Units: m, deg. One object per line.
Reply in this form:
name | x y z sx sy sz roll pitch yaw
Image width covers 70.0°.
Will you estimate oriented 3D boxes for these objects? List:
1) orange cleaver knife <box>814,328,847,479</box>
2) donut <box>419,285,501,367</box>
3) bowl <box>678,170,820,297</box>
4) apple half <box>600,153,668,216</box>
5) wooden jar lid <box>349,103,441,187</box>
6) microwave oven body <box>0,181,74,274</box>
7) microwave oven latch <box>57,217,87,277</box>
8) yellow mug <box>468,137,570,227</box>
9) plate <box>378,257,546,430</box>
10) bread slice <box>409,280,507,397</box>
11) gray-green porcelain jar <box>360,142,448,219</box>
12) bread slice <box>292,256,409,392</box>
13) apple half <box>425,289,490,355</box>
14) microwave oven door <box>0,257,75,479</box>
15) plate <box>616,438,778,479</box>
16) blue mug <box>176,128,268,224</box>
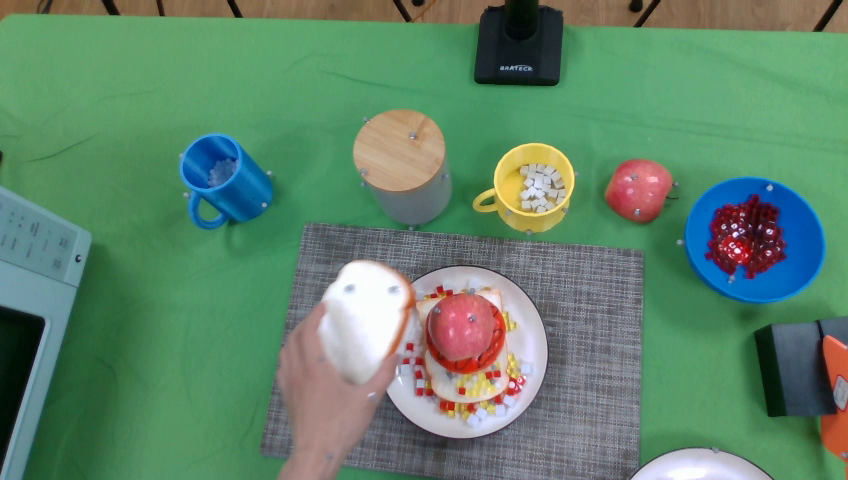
orange cleaver knife | 0.444 0.202 0.648 0.012 0.077 0.211 -5 94 -2
donut | 0.043 0.102 0.716 0.099 0.048 0.098 -2 73 7
bowl | 0.372 0.001 0.720 0.151 0.077 0.150 -2 73 7
apple half | 0.268 -0.077 0.769 0.074 0.054 0.080 27 78 16
wooden jar lid | -0.033 -0.109 0.709 0.108 0.021 0.107 -1 71 4
microwave oven body | -0.663 0.136 0.701 0.325 0.262 0.439 5 74 8
microwave oven latch | -0.484 0.009 0.820 0.030 0.030 0.079 8 75 9
yellow mug | 0.119 -0.069 0.778 0.131 0.064 0.099 -17 72 3
plate | 0.043 0.124 0.739 0.207 0.039 0.206 -2 73 6
bread slice | 0.048 0.121 0.735 0.107 0.018 0.133 -14 79 5
gray-green porcelain jar | -0.024 -0.090 0.769 0.106 0.127 0.105 -2 72 6
bread slice | -0.078 0.082 0.654 0.104 0.019 0.131 23 90 21
apple half | 0.037 0.089 0.683 0.081 0.033 0.080 -4 69 12
microwave oven door | -0.526 0.187 0.664 0.039 0.245 0.354 5 73 9
plate | 0.297 0.322 0.652 0.209 0.038 0.208 -2 73 7
blue mug | -0.274 -0.075 0.804 0.082 0.106 0.116 26 78 14
